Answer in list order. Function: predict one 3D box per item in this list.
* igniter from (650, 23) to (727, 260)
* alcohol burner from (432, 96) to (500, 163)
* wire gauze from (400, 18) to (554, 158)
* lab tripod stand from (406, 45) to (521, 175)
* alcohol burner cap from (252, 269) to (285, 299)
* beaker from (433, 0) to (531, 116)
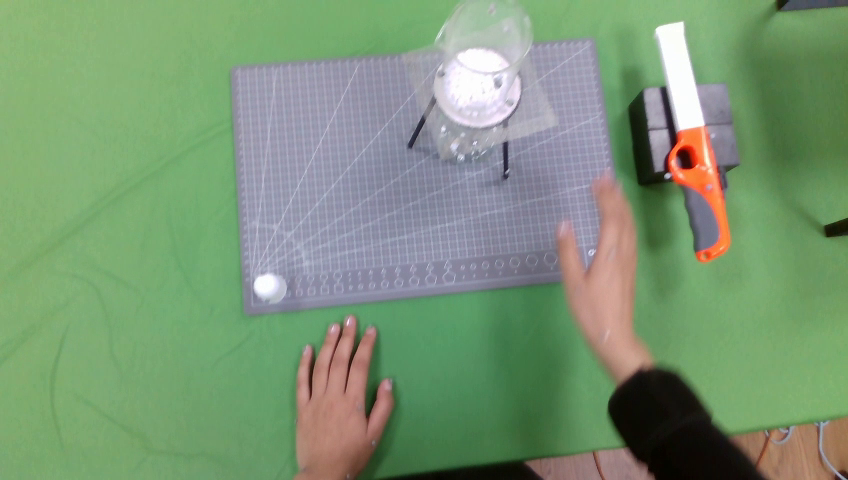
[{"bbox_3d":[0.298,-0.114,0.685,0.057,0.025,0.275,-9,80,7],"label":"igniter"},{"bbox_3d":[0.048,-0.130,0.677,0.078,0.119,0.077,0,81,-2],"label":"alcohol burner"},{"bbox_3d":[0.053,-0.152,0.604,0.125,0.011,0.121,-19,82,-8],"label":"wire gauze"},{"bbox_3d":[0.051,-0.147,0.670,0.148,0.132,0.147,0,78,-1],"label":"lab tripod stand"},{"bbox_3d":[-0.175,0.048,0.673,0.034,0.048,0.033,1,80,-3],"label":"alcohol burner cap"},{"bbox_3d":[0.048,-0.164,0.558,0.084,0.100,0.073,-7,79,-4],"label":"beaker"}]
